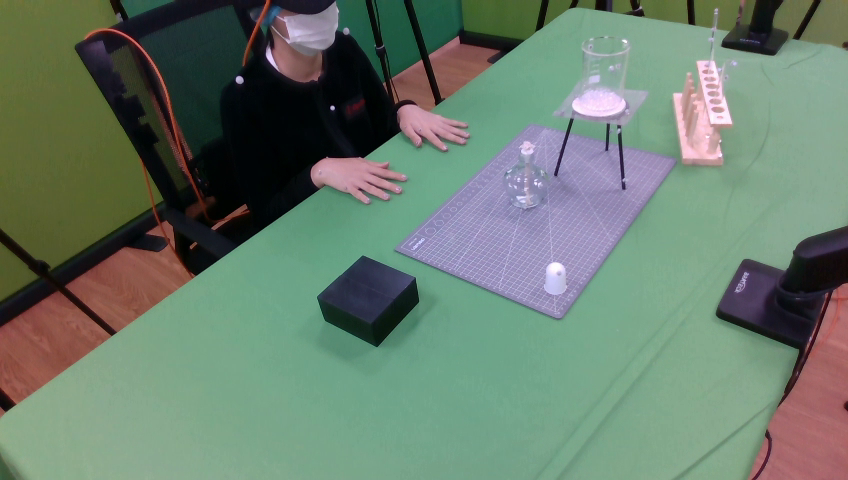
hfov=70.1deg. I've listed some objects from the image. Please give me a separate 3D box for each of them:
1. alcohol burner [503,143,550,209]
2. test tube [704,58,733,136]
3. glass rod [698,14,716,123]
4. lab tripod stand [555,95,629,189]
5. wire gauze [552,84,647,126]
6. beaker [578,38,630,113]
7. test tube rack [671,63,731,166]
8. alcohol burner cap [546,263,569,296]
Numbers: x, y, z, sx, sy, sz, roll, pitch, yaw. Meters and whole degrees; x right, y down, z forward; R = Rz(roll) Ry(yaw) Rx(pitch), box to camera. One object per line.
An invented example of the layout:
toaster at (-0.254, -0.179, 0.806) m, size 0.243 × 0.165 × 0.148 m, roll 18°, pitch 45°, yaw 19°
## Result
alcohol burner at (0.171, -0.111, 1.007) m, size 0.078 × 0.119 × 0.077 m, roll -3°, pitch 41°, yaw 3°
test tube at (0.516, -0.247, 1.062) m, size 0.017 × 0.151 × 0.017 m, roll -3°, pitch 43°, yaw 4°
glass rod at (0.532, -0.320, 1.137) m, size 0.008 × 0.200 × 0.008 m, roll 3°, pitch 12°, yaw 0°
lab tripod stand at (0.300, -0.174, 1.045) m, size 0.148 × 0.132 × 0.147 m, roll -5°, pitch 38°, yaw 5°
wire gauze at (0.293, -0.224, 1.004) m, size 0.120 × 0.011 × 0.125 m, roll 19°, pitch 43°, yaw 26°
beaker at (0.290, -0.265, 0.976) m, size 0.084 × 0.101 × 0.073 m, roll -18°, pitch 41°, yaw -14°
test tube rack at (0.513, -0.241, 1.132) m, size 0.066 × 0.085 × 0.242 m, roll 4°, pitch 41°, yaw 14°
alcohol burner cap at (0.191, 0.053, 0.862) m, size 0.034 × 0.048 × 0.033 m, roll -5°, pitch 40°, yaw 4°
